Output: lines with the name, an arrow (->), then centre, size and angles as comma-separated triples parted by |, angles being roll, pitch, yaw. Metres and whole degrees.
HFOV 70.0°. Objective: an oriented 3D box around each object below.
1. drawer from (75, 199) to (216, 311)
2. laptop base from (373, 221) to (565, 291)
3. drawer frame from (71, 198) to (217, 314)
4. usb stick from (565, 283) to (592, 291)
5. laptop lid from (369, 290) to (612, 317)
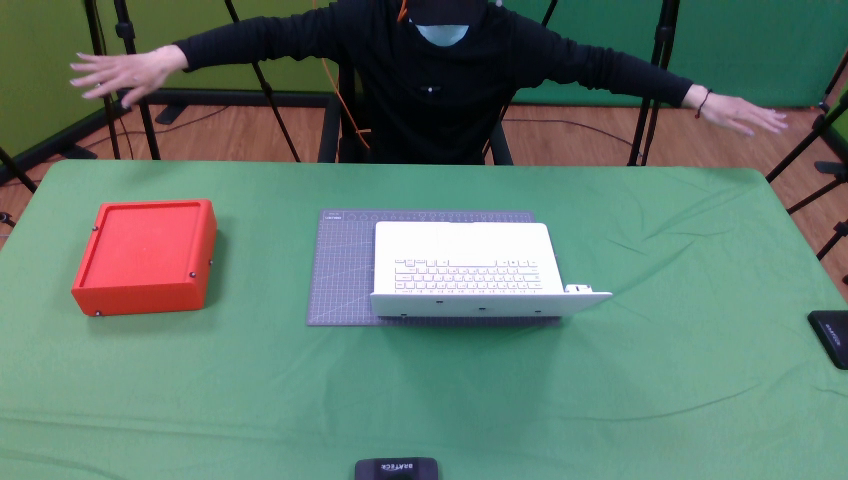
drawer -> -0.494, 0.022, 1.097 | 0.195, 0.073, 0.210 | -2, 47, -8
laptop base -> 0.080, 0.049, 1.158 | 0.355, 0.023, 0.234 | 0, 43, -4
drawer frame -> -0.493, 0.023, 1.096 | 0.202, 0.083, 0.212 | -3, 47, -8
usb stick -> 0.276, 0.095, 1.113 | 0.059, 0.027, 0.021 | -1, 47, -6
laptop lid -> 0.091, 0.104, 0.965 | 0.357, 0.242, 0.013 | 1, 75, -5
